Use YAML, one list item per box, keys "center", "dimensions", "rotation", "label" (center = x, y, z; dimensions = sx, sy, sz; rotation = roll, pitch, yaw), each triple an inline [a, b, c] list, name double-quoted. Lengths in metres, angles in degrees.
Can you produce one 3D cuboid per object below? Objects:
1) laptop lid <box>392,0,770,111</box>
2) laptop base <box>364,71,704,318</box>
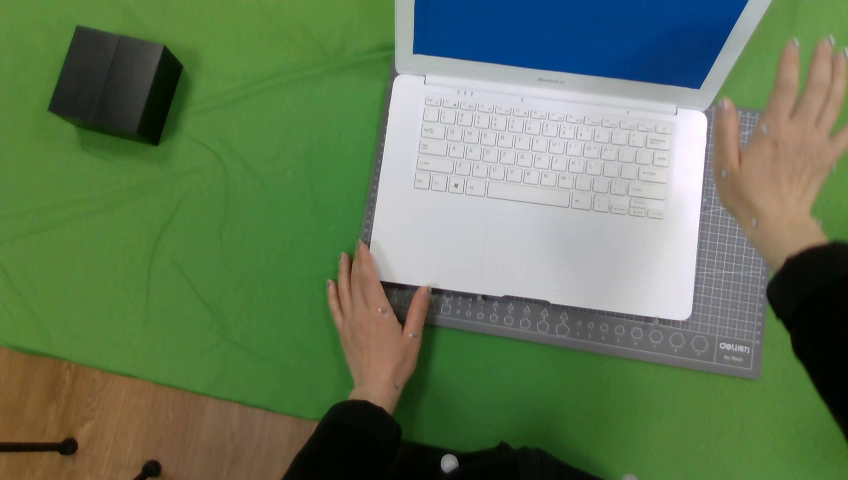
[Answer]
- center: [0.144, -0.230, 0.585]
  dimensions: [0.357, 0.243, 0.013]
  rotation: [6, 57, 2]
  label: "laptop lid"
- center: [0.123, -0.052, 0.670]
  dimensions: [0.354, 0.023, 0.235]
  rotation: [7, 86, 1]
  label: "laptop base"
